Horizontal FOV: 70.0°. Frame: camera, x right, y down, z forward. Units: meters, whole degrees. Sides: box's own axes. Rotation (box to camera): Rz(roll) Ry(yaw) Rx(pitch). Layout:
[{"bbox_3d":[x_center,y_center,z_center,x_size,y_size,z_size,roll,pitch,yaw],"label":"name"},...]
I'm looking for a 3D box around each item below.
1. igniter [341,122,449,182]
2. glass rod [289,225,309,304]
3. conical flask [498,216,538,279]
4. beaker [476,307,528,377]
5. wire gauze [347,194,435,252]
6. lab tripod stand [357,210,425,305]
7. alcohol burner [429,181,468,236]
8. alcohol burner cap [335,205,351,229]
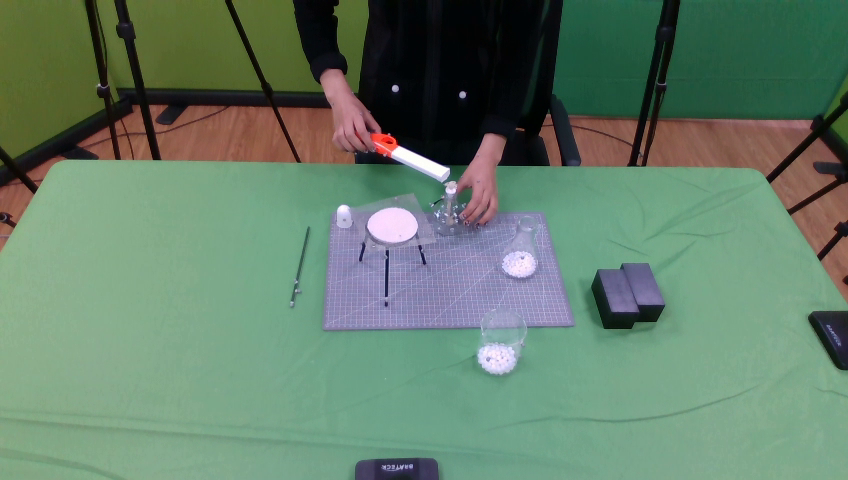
[{"bbox_3d":[-0.067,-0.183,1.228,0.275,0.025,0.057,28,55,27],"label":"igniter"},{"bbox_3d":[-0.235,0.043,1.150,0.008,0.008,0.198,3,46,-1],"label":"glass rod"},{"bbox_3d":[0.183,0.010,1.132,0.075,0.122,0.075,2,46,-2],"label":"conical flask"},{"bbox_3d":[0.122,0.171,0.991,0.084,0.101,0.073,-34,56,-31],"label":"beaker"},{"bbox_3d":[-0.058,-0.029,1.048,0.125,0.011,0.120,-12,48,-16],"label":"wire gauze"},{"bbox_3d":[-0.060,0.020,1.094,0.148,0.132,0.147,3,44,-2],"label":"lab tripod stand"},{"bbox_3d":[0.049,-0.067,1.201,0.078,0.120,0.077,1,46,-1],"label":"alcohol burner"},{"bbox_3d":[-0.164,-0.049,1.216,0.034,0.048,0.033,1,45,-1],"label":"alcohol burner cap"}]
